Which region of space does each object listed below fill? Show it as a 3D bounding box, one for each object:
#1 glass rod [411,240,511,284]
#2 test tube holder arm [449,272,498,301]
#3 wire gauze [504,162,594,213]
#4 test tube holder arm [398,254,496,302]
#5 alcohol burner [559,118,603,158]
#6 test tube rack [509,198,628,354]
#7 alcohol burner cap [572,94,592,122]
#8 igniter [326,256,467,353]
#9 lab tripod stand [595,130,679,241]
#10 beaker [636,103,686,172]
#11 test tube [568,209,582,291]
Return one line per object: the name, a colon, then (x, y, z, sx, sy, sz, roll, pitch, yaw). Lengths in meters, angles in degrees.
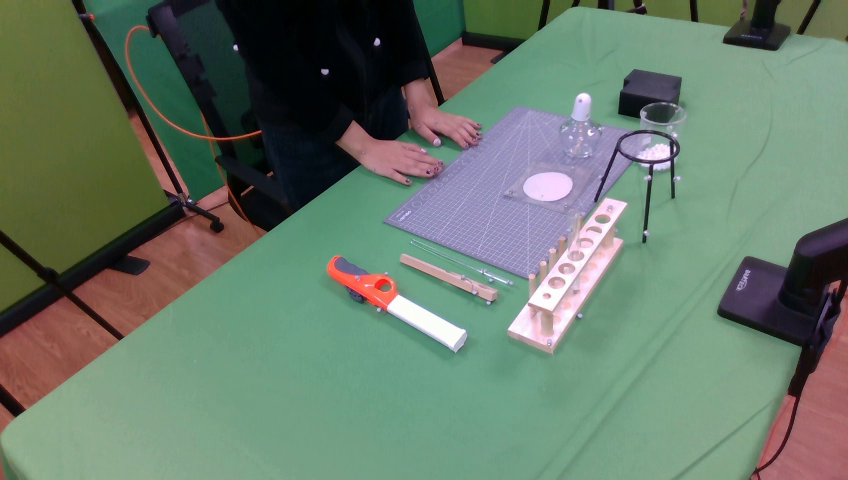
glass rod: (0.053, 0.033, 0.946, 0.198, 0.008, 0.008, 22, 50, 36)
test tube holder arm: (0.070, 0.068, 0.895, 0.087, 0.015, 0.010, 21, 13, 32)
wire gauze: (0.220, -0.098, 1.065, 0.124, 0.011, 0.122, 17, 47, 32)
test tube holder arm: (0.031, 0.055, 0.913, 0.177, 0.015, 0.013, 21, 13, 31)
alcohol burner: (0.287, -0.212, 1.104, 0.078, 0.119, 0.077, -4, 40, 4)
test tube rack: (0.206, 0.039, 0.850, 0.066, 0.085, 0.243, 20, 48, 31)
alcohol burner cap: (0.284, -0.238, 1.079, 0.034, 0.048, 0.033, -1, 48, 2)
igniter: (-0.051, 0.088, 0.886, 0.274, 0.025, 0.057, 26, 61, 35)
lab tripod stand: (0.342, -0.095, 0.943, 0.148, 0.132, 0.147, -4, 39, 4)
beaker: (0.413, -0.177, 1.055, 0.084, 0.101, 0.073, -28, 44, -21)
test tube: (0.200, 0.017, 0.799, 0.017, 0.151, 0.017, -8, 45, 8)
